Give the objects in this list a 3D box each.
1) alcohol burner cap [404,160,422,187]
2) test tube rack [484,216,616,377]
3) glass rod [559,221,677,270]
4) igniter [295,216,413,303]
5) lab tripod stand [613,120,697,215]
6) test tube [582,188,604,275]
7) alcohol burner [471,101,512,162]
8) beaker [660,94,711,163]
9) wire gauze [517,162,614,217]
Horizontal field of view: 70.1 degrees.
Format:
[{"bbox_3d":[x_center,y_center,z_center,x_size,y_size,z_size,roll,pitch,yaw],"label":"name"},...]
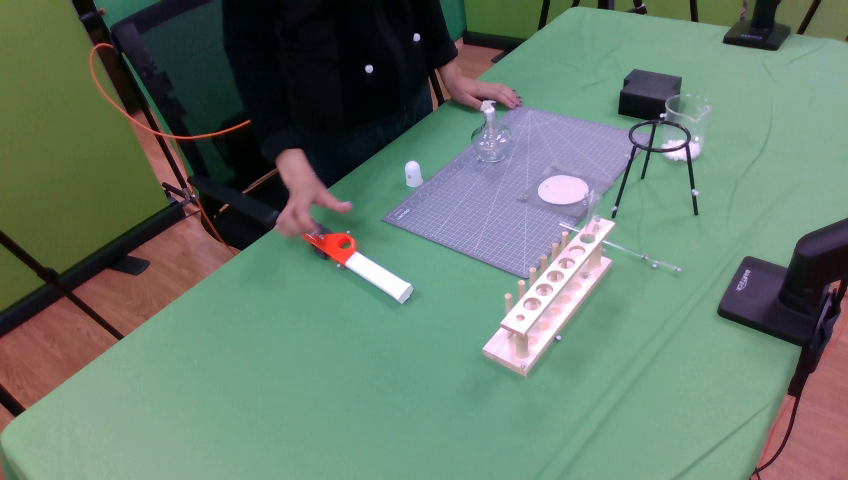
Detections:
[{"bbox_3d":[-0.023,-0.125,1.118,0.034,0.048,0.033,-4,41,4],"label":"alcohol burner cap"},{"bbox_3d":[0.174,0.064,0.823,0.066,0.085,0.243,23,49,33],"label":"test tube rack"},{"bbox_3d":[0.292,0.007,0.927,0.198,0.008,0.008,26,52,36],"label":"glass rod"},{"bbox_3d":[-0.122,0.025,0.969,0.274,0.025,0.057,29,69,36],"label":"igniter"},{"bbox_3d":[0.369,-0.112,0.958,0.148,0.132,0.147,-4,40,4],"label":"lab tripod stand"},{"bbox_3d":[0.229,-0.007,0.821,0.017,0.151,0.017,-3,42,3],"label":"test tube"},{"bbox_3d":[0.125,-0.207,1.126,0.078,0.119,0.077,-5,42,5],"label":"alcohol burner"},{"bbox_3d":[0.457,-0.192,1.063,0.074,0.101,0.083,-7,41,4],"label":"beaker"},{"bbox_3d":[0.245,-0.088,1.046,0.120,0.011,0.125,25,50,32],"label":"wire gauze"}]
